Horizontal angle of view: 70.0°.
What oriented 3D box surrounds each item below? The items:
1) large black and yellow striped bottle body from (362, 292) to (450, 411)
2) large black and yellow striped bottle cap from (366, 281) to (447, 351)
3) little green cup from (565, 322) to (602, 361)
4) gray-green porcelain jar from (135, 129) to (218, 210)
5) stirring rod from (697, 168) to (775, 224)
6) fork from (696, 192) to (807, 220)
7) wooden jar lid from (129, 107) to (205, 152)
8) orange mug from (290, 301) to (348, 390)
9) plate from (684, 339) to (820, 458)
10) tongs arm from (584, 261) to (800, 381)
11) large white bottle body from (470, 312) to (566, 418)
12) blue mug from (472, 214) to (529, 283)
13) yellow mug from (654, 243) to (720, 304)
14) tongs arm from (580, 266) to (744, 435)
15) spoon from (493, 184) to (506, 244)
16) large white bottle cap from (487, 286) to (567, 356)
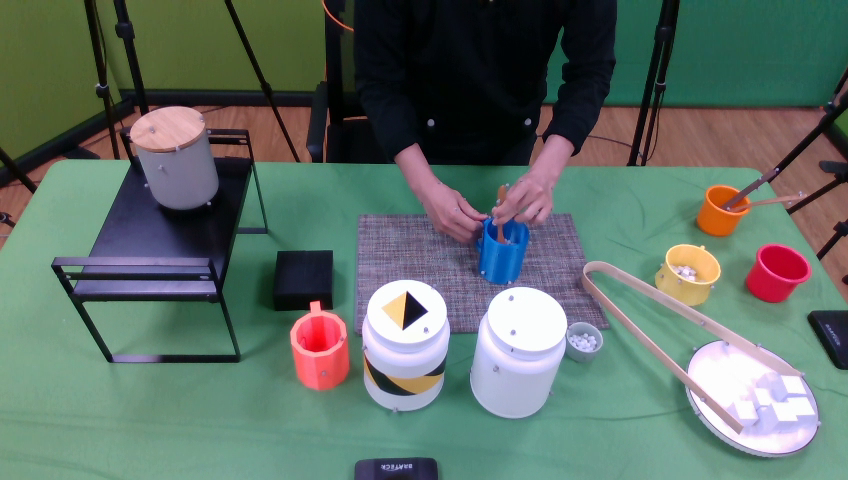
[{"bbox_3d":[-0.029,0.163,0.928,0.131,0.185,0.130,2,47,-2],"label":"large black and yellow striped bottle body"},{"bbox_3d":[-0.025,0.106,0.866,0.115,0.019,0.114,2,46,-1],"label":"large black and yellow striped bottle cap"},{"bbox_3d":[0.271,0.176,1.039,0.061,0.039,0.061,2,46,-2],"label":"little green cup"},{"bbox_3d":[-0.388,-0.120,0.960,0.106,0.127,0.105,2,46,-2],"label":"gray-green porcelain jar"},{"bbox_3d":[0.644,-0.090,1.252,0.176,0.006,0.014,-40,53,16],"label":"stirring rod"},{"bbox_3d":[0.655,-0.069,1.224,0.207,0.019,0.028,-17,33,45],"label":"fork"},{"bbox_3d":[-0.385,-0.163,0.915,0.108,0.021,0.107,2,47,-2],"label":"wooden jar lid"},{"bbox_3d":[-0.170,0.162,0.976,0.083,0.101,0.125,-7,52,-12],"label":"orange mug"},{"bbox_3d":[0.523,0.256,0.982,0.208,0.039,0.206,2,46,-2],"label":"plate"},{"bbox_3d":[0.452,0.137,1.064,0.051,0.027,0.382,-34,50,-27],"label":"tongs arm"},{"bbox_3d":[0.143,0.173,0.930,0.131,0.185,0.130,2,46,-2],"label":"large white bottle body"},{"bbox_3d":[0.134,0.008,1.137,0.116,0.106,0.082,37,54,28],"label":"blue mug"},{"bbox_3d":[0.504,0.054,1.154,0.099,0.064,0.130,28,49,22],"label":"yellow mug"},{"bbox_3d":[0.384,0.173,1.028,0.028,0.028,0.385,-25,46,-15],"label":"tongs arm"},{"bbox_3d":[0.130,-0.027,1.073,0.041,0.195,0.021,-14,46,-10],"label":"spoon"},{"bbox_3d":[0.147,0.115,0.869,0.115,0.018,0.114,3,46,-3],"label":"large white bottle cap"}]
